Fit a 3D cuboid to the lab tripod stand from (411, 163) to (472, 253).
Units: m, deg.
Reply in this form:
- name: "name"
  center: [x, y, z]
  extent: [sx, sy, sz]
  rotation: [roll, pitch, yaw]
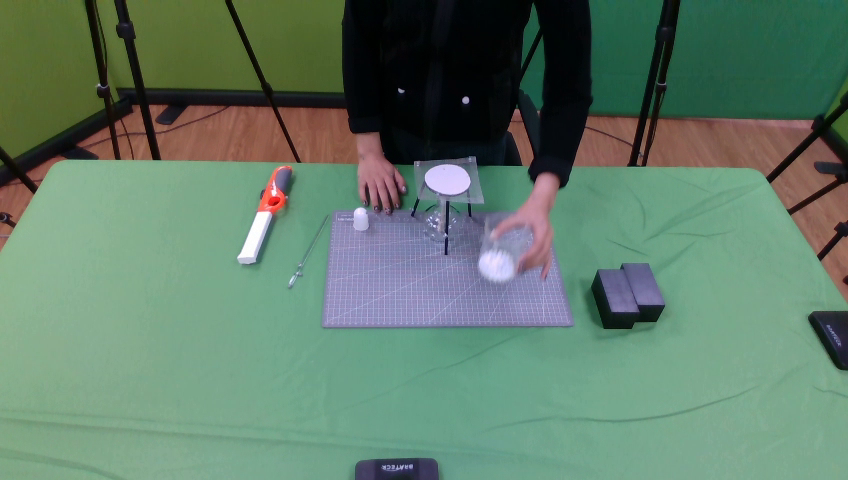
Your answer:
- name: "lab tripod stand"
  center: [0.042, -0.069, 1.186]
  extent: [0.148, 0.132, 0.147]
  rotation: [3, 47, -3]

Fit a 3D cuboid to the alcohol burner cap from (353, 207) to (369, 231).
- name: "alcohol burner cap"
  center: [-0.127, -0.046, 1.215]
  extent: [0.034, 0.048, 0.033]
  rotation: [3, 48, -3]

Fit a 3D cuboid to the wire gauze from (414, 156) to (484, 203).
- name: "wire gauze"
  center: [0.045, -0.114, 1.136]
  extent: [0.125, 0.011, 0.120]
  rotation: [-1, 48, -4]

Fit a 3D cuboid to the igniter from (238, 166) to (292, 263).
- name: "igniter"
  center: [-0.319, -0.060, 1.229]
  extent: [0.057, 0.025, 0.275]
  rotation: [-2, 45, 10]

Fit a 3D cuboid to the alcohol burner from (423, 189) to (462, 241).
- name: "alcohol burner"
  center: [0.036, -0.055, 1.186]
  extent: [0.078, 0.120, 0.077]
  rotation: [1, 48, -1]

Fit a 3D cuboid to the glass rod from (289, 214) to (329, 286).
- name: "glass rod"
  center: [-0.221, 0.014, 1.179]
  extent: [0.008, 0.008, 0.199]
  rotation: [12, 46, 8]

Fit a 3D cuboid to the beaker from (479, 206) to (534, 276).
- name: "beaker"
  center: [0.131, 0.003, 1.003]
  extent: [0.083, 0.101, 0.074]
  rotation: [36, 50, 26]
